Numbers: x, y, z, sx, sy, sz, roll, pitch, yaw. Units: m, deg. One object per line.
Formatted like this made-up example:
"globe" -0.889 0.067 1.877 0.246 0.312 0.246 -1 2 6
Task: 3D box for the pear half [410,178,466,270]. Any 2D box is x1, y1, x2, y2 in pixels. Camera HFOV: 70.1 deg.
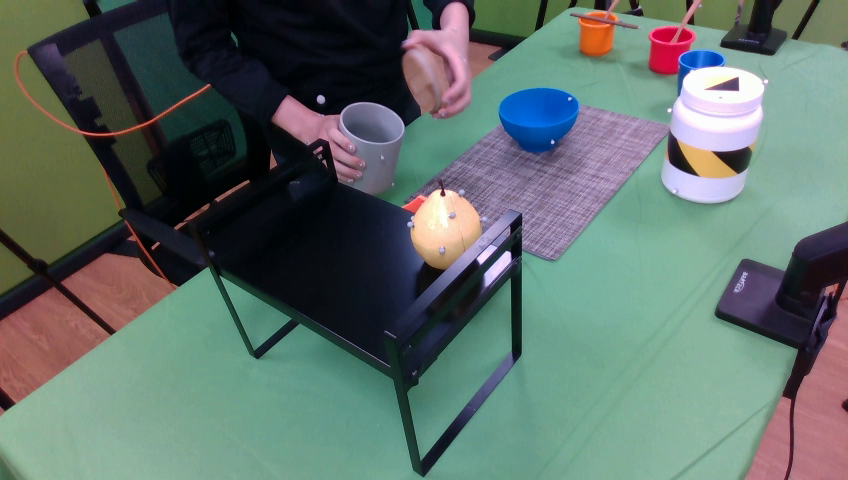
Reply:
"pear half" 0.011 -0.019 0.654 0.056 0.110 0.076 -16 37 -9

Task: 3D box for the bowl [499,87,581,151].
"bowl" 0.220 -0.223 1.156 0.151 0.077 0.150 -4 40 4

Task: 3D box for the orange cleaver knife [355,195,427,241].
"orange cleaver knife" -0.037 -0.029 0.973 0.210 0.077 0.012 -8 33 50

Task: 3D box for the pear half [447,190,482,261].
"pear half" 0.046 -0.020 0.664 0.031 0.088 0.070 -17 38 -9

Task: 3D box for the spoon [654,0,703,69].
"spoon" 0.569 -0.462 1.335 0.041 0.022 0.193 34 99 37

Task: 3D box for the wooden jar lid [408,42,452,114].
"wooden jar lid" 0.006 -0.246 0.928 0.021 0.109 0.107 -23 42 -24

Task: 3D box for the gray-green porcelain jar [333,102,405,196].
"gray-green porcelain jar" -0.095 -0.146 1.005 0.106 0.126 0.105 9 46 -9

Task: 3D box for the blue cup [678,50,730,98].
"blue cup" 0.542 -0.310 1.194 0.092 0.101 0.092 -6 41 6

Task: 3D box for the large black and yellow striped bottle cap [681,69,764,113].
"large black and yellow striped bottle cap" 0.453 -0.229 0.921 0.115 0.019 0.114 -4 39 4

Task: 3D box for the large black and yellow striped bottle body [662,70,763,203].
"large black and yellow striped bottle body" 0.464 -0.166 0.976 0.131 0.185 0.130 -5 41 5

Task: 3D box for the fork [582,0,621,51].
"fork" 0.446 -0.539 1.438 0.207 0.019 0.028 -57 36 12

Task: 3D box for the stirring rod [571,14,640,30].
"stirring rod" 0.419 -0.508 1.404 0.174 0.006 0.014 28 55 35
